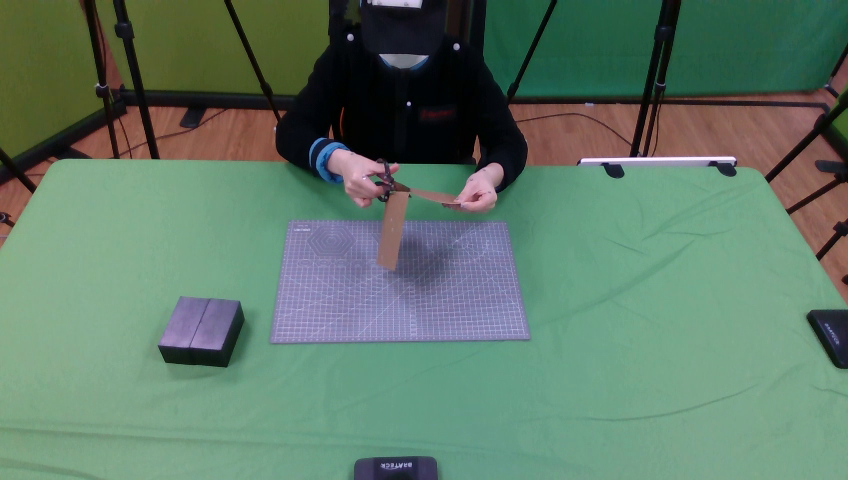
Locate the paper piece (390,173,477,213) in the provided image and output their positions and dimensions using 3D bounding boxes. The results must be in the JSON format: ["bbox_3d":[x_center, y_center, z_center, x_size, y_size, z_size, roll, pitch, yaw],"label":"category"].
[{"bbox_3d":[0.013,-0.085,1.093,0.139,0.008,0.135,15,16,-23],"label":"paper piece"}]

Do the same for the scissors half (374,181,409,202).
[{"bbox_3d":[-0.059,-0.088,1.079,0.013,0.040,0.174,-2,3,-23],"label":"scissors half"}]

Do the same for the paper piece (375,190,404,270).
[{"bbox_3d":[-0.064,-0.019,1.068,0.004,0.135,0.135,8,1,-17],"label":"paper piece"}]

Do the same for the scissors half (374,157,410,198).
[{"bbox_3d":[-0.057,-0.109,1.073,0.013,0.040,0.174,-7,30,-21],"label":"scissors half"}]
